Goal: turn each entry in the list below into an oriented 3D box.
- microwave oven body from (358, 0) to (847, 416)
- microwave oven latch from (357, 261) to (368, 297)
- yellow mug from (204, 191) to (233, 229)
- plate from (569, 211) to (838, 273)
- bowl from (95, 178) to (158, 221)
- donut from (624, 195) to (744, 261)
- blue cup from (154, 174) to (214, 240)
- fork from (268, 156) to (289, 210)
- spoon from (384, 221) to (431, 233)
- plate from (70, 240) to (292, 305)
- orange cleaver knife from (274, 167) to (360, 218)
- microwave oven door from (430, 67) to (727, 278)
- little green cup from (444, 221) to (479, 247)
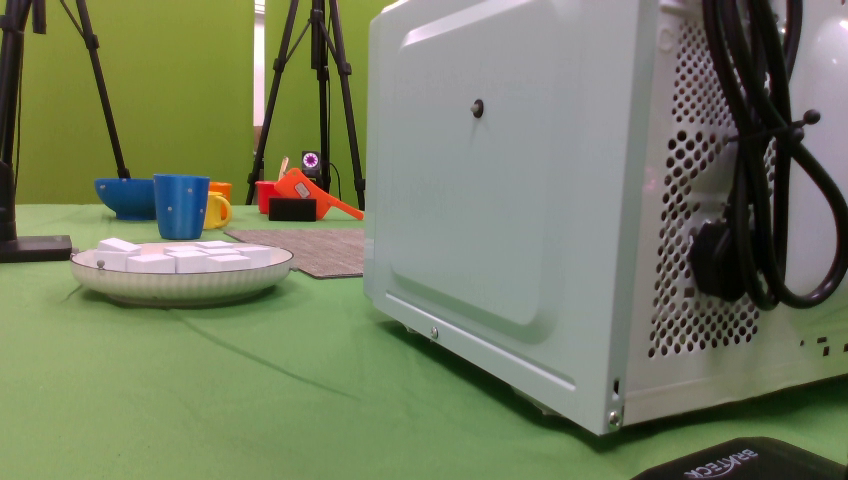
[{"bbox_3d":[0.211,-0.047,0.474,0.444,0.260,0.324,-1,7,-28],"label":"microwave oven body"},{"bbox_3d":[-0.019,0.033,0.530,0.079,0.029,0.030,-1,7,-27],"label":"microwave oven latch"},{"bbox_3d":[-0.415,-0.057,1.132,0.130,0.064,0.100,6,8,16],"label":"yellow mug"},{"bbox_3d":[0.230,-0.001,0.518,0.209,0.038,0.209,2,6,0],"label":"plate"},{"bbox_3d":[-0.576,-0.081,1.217,0.151,0.077,0.151,3,8,0],"label":"bowl"},{"bbox_3d":[0.221,-0.009,0.519,0.099,0.048,0.099,13,10,-2],"label":"donut"},{"bbox_3d":[-0.391,-0.053,0.978,0.093,0.100,0.092,3,6,0],"label":"blue cup"},{"bbox_3d":[-0.360,-0.144,1.508,0.028,0.018,0.207,1,49,0],"label":"fork"},{"bbox_3d":[-0.024,-0.029,1.188,0.041,0.021,0.194,-12,0,23],"label":"spoon"},{"bbox_3d":[-0.242,0.031,0.618,0.208,0.039,0.207,2,8,0],"label":"plate"},{"bbox_3d":[-0.238,-0.091,1.381,0.212,0.077,0.012,31,0,-19],"label":"orange cleaver knife"},{"bbox_3d":[0.178,-0.092,0.771,0.354,0.243,0.039,5,8,24],"label":"microwave oven door"},{"bbox_3d":[0.064,-0.011,1.034,0.061,0.038,0.061,0,9,0],"label":"little green cup"}]
